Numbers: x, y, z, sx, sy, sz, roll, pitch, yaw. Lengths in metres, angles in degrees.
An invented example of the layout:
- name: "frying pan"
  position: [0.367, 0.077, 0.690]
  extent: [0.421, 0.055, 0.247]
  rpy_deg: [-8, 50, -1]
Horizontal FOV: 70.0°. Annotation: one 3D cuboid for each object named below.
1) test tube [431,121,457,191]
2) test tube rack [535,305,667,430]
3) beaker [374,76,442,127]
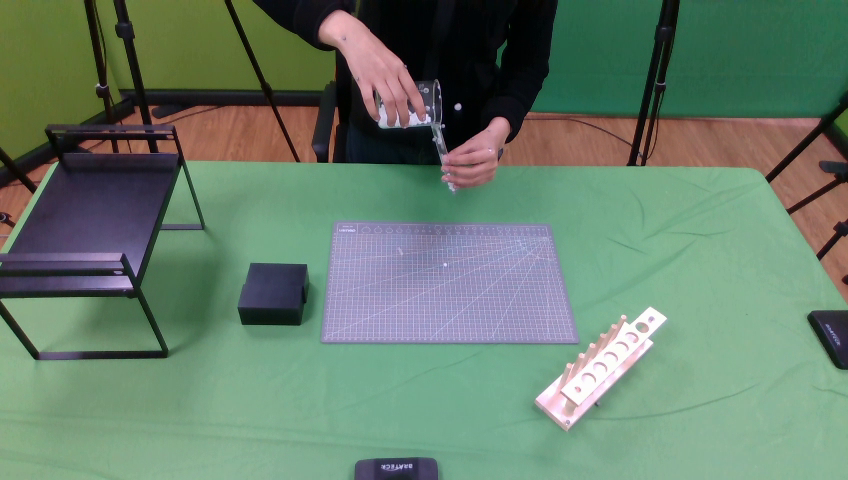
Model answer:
- name: "test tube"
  position: [0.036, -0.142, 1.046]
  extent: [0.017, 0.151, 0.017]
  rpy_deg: [-9, 46, 10]
- name: "test tube rack"
  position: [0.290, 0.193, 0.984]
  extent: [0.242, 0.085, 0.066]
  rpy_deg: [-32, 56, -30]
- name: "beaker"
  position: [-0.027, -0.215, 0.961]
  extent: [0.100, 0.084, 0.073]
  rpy_deg: [-4, 43, -7]
